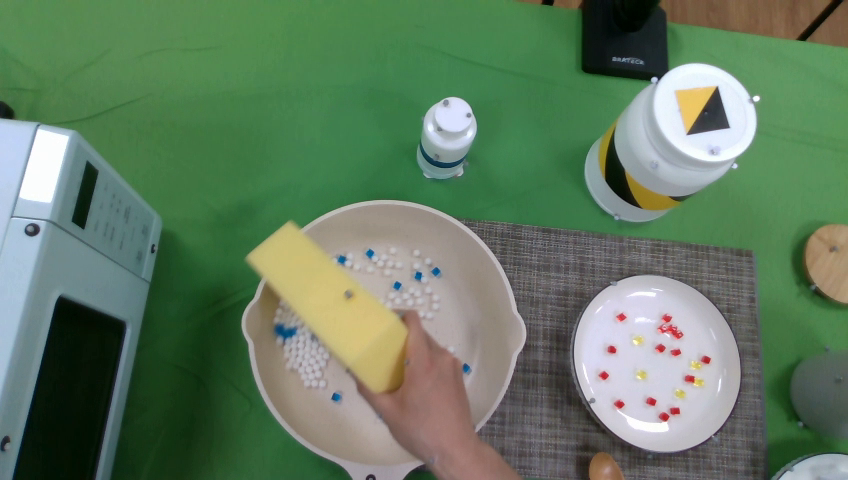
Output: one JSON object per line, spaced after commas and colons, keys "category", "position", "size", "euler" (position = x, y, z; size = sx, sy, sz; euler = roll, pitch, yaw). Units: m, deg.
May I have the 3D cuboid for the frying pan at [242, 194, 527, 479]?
{"category": "frying pan", "position": [-0.047, 0.191, 0.643], "size": [0.307, 0.103, 0.484], "euler": [4, 67, -3]}

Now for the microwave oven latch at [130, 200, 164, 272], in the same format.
{"category": "microwave oven latch", "position": [-0.315, -0.005, 0.679], "size": [0.030, 0.029, 0.079], "euler": [9, 75, -5]}

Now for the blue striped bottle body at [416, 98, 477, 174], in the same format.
{"category": "blue striped bottle body", "position": [0.027, -0.129, 0.726], "size": [0.063, 0.121, 0.062], "euler": [2, 75, -6]}

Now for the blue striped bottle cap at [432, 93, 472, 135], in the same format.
{"category": "blue striped bottle cap", "position": [0.032, -0.141, 0.677], "size": [0.044, 0.021, 0.044], "euler": [2, 72, -5]}

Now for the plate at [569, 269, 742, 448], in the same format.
{"category": "plate", "position": [0.273, 0.139, 0.726], "size": [0.209, 0.038, 0.208], "euler": [2, 76, -6]}

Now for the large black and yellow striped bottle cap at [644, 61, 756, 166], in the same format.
{"category": "large black and yellow striped bottle cap", "position": [0.291, -0.134, 0.637], "size": [0.115, 0.019, 0.114], "euler": [2, 74, -6]}

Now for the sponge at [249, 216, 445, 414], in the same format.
{"category": "sponge", "position": [-0.083, 0.071, 0.617], "size": [0.061, 0.119, 0.204], "euler": [-43, 47, -13]}

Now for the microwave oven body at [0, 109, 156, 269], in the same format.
{"category": "microwave oven body", "position": [-0.467, 0.123, 0.529], "size": [0.326, 0.261, 0.439], "euler": [7, 76, -5]}

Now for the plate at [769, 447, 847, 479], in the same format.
{"category": "plate", "position": [0.478, 0.347, 0.701], "size": [0.208, 0.039, 0.206], "euler": [2, 75, -6]}

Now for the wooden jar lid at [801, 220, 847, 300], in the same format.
{"category": "wooden jar lid", "position": [0.548, 0.027, 0.800], "size": [0.108, 0.021, 0.108], "euler": [1, 77, -6]}

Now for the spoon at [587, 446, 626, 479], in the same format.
{"category": "spoon", "position": [0.254, 0.313, 0.689], "size": [0.193, 0.022, 0.041], "euler": [46, 58, 5]}

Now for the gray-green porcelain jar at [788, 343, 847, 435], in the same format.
{"category": "gray-green porcelain jar", "position": [0.504, 0.173, 0.702], "size": [0.106, 0.127, 0.105], "euler": [2, 75, -6]}

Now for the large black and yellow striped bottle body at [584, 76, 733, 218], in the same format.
{"category": "large black and yellow striped bottle body", "position": [0.282, -0.113, 0.720], "size": [0.131, 0.184, 0.130], "euler": [2, 75, -6]}

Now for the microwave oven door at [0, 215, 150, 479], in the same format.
{"category": "microwave oven door", "position": [-0.327, 0.179, 0.526], "size": [0.039, 0.244, 0.354], "euler": [6, 75, -5]}
